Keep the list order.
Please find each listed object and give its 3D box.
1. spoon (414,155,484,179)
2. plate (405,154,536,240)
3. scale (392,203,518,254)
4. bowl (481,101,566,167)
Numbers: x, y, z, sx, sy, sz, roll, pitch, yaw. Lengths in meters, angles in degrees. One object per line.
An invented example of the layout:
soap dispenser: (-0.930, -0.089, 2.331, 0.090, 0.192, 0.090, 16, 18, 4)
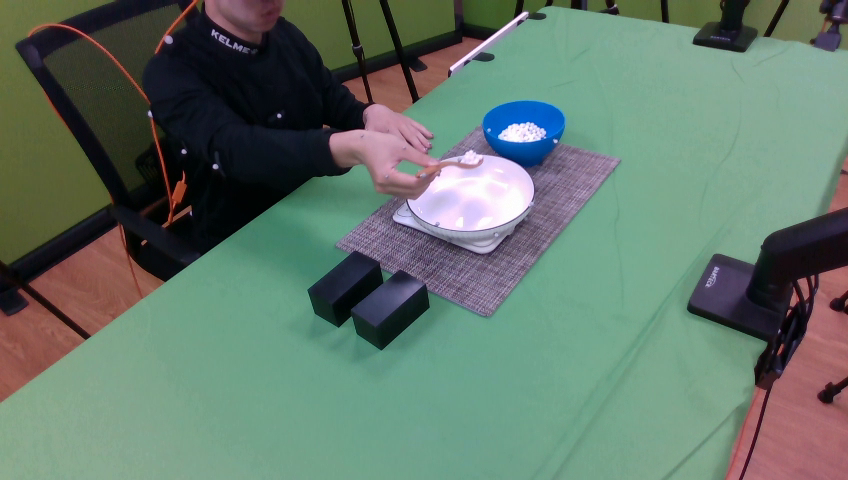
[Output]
spoon: (0.037, -0.111, 0.906, 0.041, 0.021, 0.195, 9, 15, 30)
plate: (0.075, -0.067, 0.973, 0.209, 0.038, 0.208, -4, 41, 4)
scale: (0.061, -0.051, 1.006, 0.199, 0.032, 0.149, 22, 48, 30)
bowl: (0.182, -0.186, 1.111, 0.151, 0.077, 0.150, -4, 40, 4)
